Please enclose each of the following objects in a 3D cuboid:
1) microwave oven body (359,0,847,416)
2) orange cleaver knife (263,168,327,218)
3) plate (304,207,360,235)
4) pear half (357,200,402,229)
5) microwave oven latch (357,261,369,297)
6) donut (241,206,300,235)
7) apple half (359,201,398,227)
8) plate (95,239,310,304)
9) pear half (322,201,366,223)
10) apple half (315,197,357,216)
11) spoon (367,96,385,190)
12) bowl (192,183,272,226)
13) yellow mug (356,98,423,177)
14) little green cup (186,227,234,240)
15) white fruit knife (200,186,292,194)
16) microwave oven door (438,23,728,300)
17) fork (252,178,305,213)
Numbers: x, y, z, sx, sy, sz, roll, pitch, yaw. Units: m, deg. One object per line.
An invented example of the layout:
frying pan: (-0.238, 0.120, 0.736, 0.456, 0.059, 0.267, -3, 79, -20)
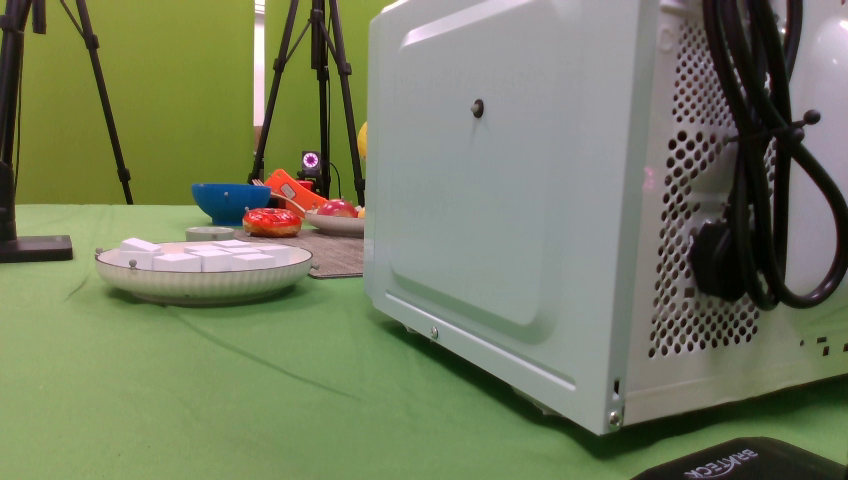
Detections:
microwave oven body: (0.211, -0.047, 0.474, 0.444, 0.260, 0.324, -1, 7, -28)
orange cleaver knife: (-0.263, -0.087, 1.353, 0.211, 0.077, 0.012, 28, 13, -1)
plate: (-0.123, -0.037, 1.149, 0.209, 0.038, 0.209, 2, 7, 0)
pear half: (-0.075, -0.046, 1.132, 0.076, 0.056, 0.110, 11, 5, 31)
microwave oven latch: (-0.019, 0.033, 0.530, 0.079, 0.029, 0.030, -1, 7, -26)
donut: (-0.263, -0.032, 1.039, 0.099, 0.048, 0.099, 4, 10, 0)
apple half: (-0.088, -0.058, 1.190, 0.081, 0.033, 0.081, 9, 30, -5)
plate: (-0.224, 0.031, 0.629, 0.208, 0.039, 0.207, 3, 8, 0)
pear half: (-0.157, -0.059, 1.197, 0.088, 0.031, 0.070, 12, 30, -4)
apple half: (-0.162, -0.052, 1.121, 0.081, 0.053, 0.074, 4, 8, -14)
spoon: (-0.086, -0.186, 1.152, 0.021, 0.193, 0.042, -3, -17, 33)
bowl: (-0.381, -0.071, 1.202, 0.151, 0.077, 0.151, 3, 7, 0)
yellow mug: (-0.061, -0.180, 1.037, 0.100, 0.131, 0.063, -16, 34, -20)
little green cup: (-0.284, 0.005, 0.805, 0.061, 0.038, 0.061, 2, 8, 0)
white fruit knife: (-0.399, -0.111, 1.368, 0.208, 0.016, 0.027, -4, -19, -30)
microwave oven door: (0.181, -0.072, 0.621, 0.358, 0.243, 0.039, -2, 8, -29)
fork: (-0.295, -0.084, 1.292, 0.206, 0.018, 0.028, 29, 10, 25)
